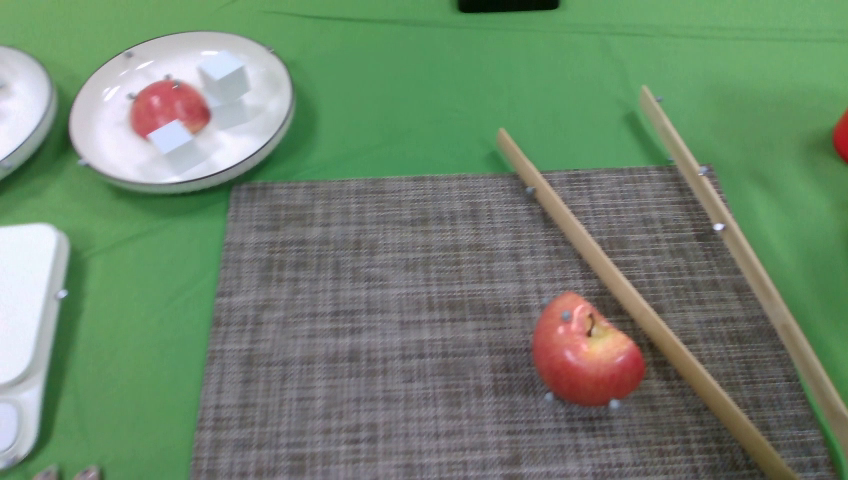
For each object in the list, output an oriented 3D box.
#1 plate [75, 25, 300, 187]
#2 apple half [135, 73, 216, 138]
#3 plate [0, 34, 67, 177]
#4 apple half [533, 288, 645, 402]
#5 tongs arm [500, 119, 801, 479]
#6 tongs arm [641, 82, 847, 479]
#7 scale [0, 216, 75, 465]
[{"bbox_3d":[-0.223,-0.129,0.590,0.209,0.038,0.207,0,57,0],"label":"plate"},{"bbox_3d":[-0.244,-0.137,0.589,0.081,0.033,0.080,-1,54,2],"label":"apple half"},{"bbox_3d":[-0.448,-0.116,0.580,0.208,0.039,0.205,0,57,0],"label":"plate"},{"bbox_3d":[0.107,0.082,0.430,0.053,0.075,0.080,-37,67,-17],"label":"apple half"},{"bbox_3d":[0.169,0.035,0.487,0.028,0.028,0.383,-22,60,-19],"label":"tongs arm"},{"bbox_3d":[0.247,0.011,0.502,0.051,0.027,0.381,-12,59,-10],"label":"tongs arm"},{"bbox_3d":[-0.357,0.074,0.461,0.149,0.032,0.199,-6,58,-4],"label":"scale"}]
